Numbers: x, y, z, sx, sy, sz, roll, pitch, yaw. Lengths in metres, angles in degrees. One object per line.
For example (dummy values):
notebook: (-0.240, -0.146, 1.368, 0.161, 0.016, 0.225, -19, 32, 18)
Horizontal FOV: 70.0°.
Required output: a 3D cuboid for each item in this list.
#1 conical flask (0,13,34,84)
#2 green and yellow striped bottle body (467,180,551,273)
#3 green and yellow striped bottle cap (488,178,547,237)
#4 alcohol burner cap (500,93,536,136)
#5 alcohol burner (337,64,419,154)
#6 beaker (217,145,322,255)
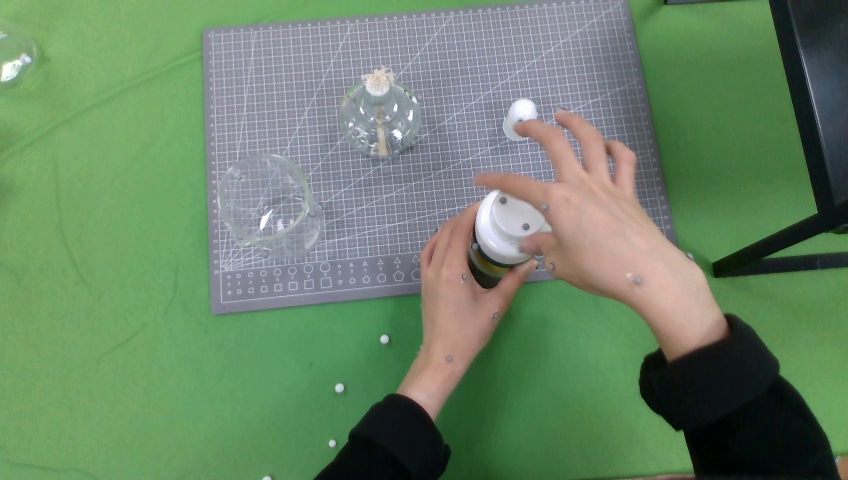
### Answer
conical flask: (-0.435, -0.204, 0.563, 0.075, 0.122, 0.075, 0, 77, -1)
green and yellow striped bottle body: (0.073, -0.012, 0.530, 0.063, 0.120, 0.063, 0, 77, -1)
green and yellow striped bottle cap: (0.074, -0.026, 0.474, 0.045, 0.020, 0.045, 0, 78, 0)
alcohol burner cap: (0.094, -0.126, 0.596, 0.034, 0.048, 0.033, 0, 77, -1)
alcohol burner: (-0.043, -0.125, 0.556, 0.078, 0.119, 0.077, 1, 76, -2)
beaker: (-0.133, -0.027, 0.539, 0.074, 0.100, 0.083, 22, 78, 5)
